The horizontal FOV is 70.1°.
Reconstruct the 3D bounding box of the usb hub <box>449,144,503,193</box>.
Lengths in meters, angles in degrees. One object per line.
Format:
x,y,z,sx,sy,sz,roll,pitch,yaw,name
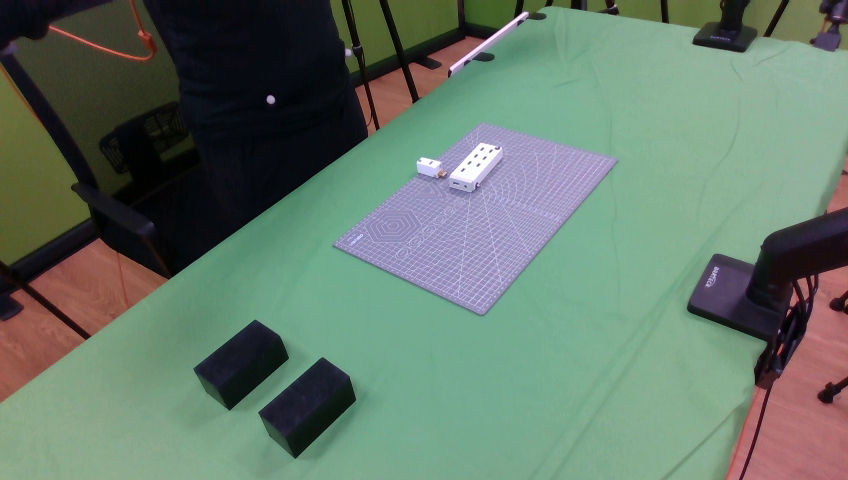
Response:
0.096,-0.132,1.105,0.049,0.025,0.125,18,47,27,usb hub

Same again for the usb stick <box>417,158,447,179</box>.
0.016,-0.130,1.114,0.059,0.027,0.021,21,44,25,usb stick
